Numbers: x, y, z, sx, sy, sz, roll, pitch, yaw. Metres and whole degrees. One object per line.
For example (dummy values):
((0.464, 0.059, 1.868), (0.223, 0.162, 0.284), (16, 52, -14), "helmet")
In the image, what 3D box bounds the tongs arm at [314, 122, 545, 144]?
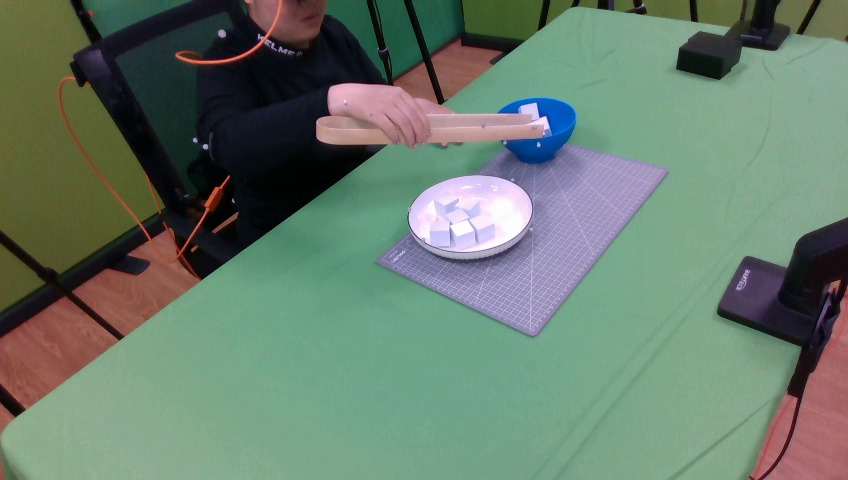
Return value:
((0.018, -0.178, 0.984), (0.387, 0.026, 0.050), (-6, 33, -21), "tongs arm")

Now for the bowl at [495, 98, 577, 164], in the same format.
((0.207, -0.196, 1.128), (0.151, 0.077, 0.150), (-5, 40, 5), "bowl")

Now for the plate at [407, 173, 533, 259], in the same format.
((0.076, -0.037, 0.997), (0.207, 0.039, 0.206), (-5, 40, 5), "plate")

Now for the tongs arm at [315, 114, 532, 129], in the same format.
((0.008, -0.194, 1.010), (0.390, 0.028, 0.028), (-5, 36, -20), "tongs arm")
